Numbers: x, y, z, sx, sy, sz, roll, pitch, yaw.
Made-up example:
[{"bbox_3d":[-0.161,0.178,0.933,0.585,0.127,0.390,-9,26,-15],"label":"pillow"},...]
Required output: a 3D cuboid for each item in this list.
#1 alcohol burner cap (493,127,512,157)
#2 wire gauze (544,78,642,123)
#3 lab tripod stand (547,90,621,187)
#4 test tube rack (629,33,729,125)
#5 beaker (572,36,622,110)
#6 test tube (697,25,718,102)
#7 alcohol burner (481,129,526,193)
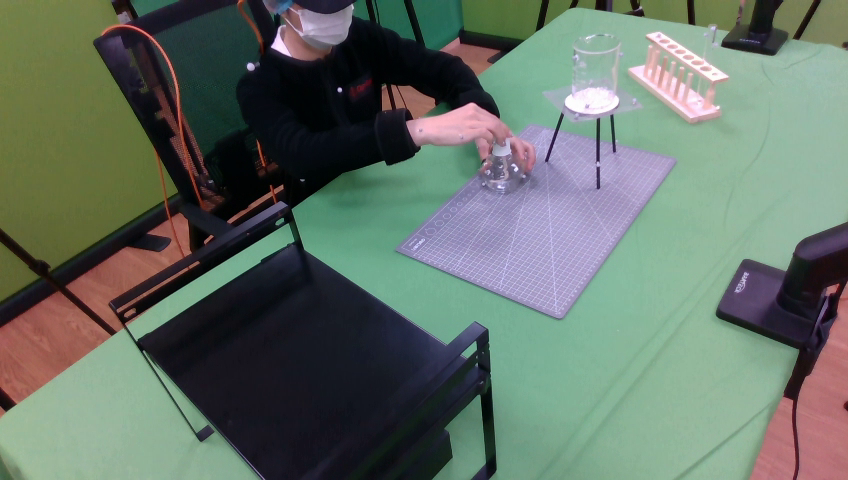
[{"bbox_3d":[0.133,-0.169,1.030,0.034,0.048,0.033,-6,36,5],"label":"alcohol burner cap"},{"bbox_3d":[0.282,-0.234,1.021,0.125,0.011,0.120,-17,38,-4],"label":"wire gauze"},{"bbox_3d":[0.289,-0.184,1.062,0.148,0.132,0.147,-6,41,6],"label":"lab tripod stand"},{"bbox_3d":[0.516,-0.337,1.247,0.067,0.085,0.240,-14,41,-7],"label":"test tube rack"},{"bbox_3d":[0.279,-0.274,0.992,0.074,0.101,0.083,-14,40,-5],"label":"beaker"},{"bbox_3d":[0.546,-0.337,1.166,0.017,0.151,0.017,-5,36,4],"label":"test tube"},{"bbox_3d":[0.138,-0.142,1.052,0.078,0.119,0.077,-5,42,5],"label":"alcohol burner"}]
